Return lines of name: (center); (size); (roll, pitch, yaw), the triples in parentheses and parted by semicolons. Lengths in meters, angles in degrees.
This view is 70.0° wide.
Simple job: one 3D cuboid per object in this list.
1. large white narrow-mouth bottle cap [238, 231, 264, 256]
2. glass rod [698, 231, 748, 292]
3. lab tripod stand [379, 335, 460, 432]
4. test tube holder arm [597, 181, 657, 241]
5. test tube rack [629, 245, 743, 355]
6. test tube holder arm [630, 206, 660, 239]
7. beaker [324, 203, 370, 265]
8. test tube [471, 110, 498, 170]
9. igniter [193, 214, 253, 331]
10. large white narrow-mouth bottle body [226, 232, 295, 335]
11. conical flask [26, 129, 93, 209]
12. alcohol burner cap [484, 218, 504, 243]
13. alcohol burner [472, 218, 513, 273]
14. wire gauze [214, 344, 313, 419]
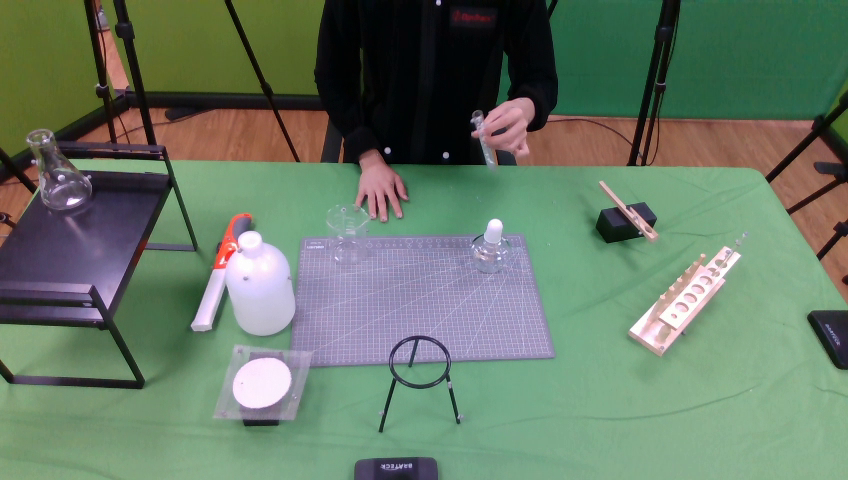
large white narrow-mouth bottle cap: (-0.266, 0.006, 0.932); (0.038, 0.024, 0.037); (2, 46, -2)
glass rod: (0.514, 0.044, 1.051); (0.008, 0.200, 0.008); (1, 55, -1)
lab tripod stand: (-0.010, 0.214, 0.912); (0.148, 0.132, 0.147); (1, 45, 0)
test tube holder arm: (0.406, -0.061, 1.219); (0.013, 0.015, 0.177); (-23, 50, -16)
test tube rack: (0.474, 0.095, 1.091); (0.242, 0.085, 0.066); (-34, 56, -31)
test tube holder arm: (0.431, -0.034, 1.192); (0.010, 0.015, 0.087); (-22, 50, -15)
beaker: (-0.142, -0.009, 1.137); (0.084, 0.101, 0.073); (-3, 47, -7)
test tube: (0.104, -0.166, 1.022); (0.017, 0.151, 0.017); (-9, 58, 15)
igniter: (-0.368, 0.050, 1.119); (0.057, 0.025, 0.275); (-3, 46, 8)
large white narrow-mouth bottle body: (-0.270, 0.065, 0.995); (0.102, 0.195, 0.101); (2, 46, -2)
conical flask: (-0.575, -0.113, 0.946); (0.075, 0.122, 0.075); (2, 46, -2)
alcohol burner cap: (0.130, -0.021, 1.106); (0.034, 0.048, 0.033); (3, 51, -4)
alcohol burner: (0.128, 0.005, 1.132); (0.078, 0.120, 0.077); (0, 47, 0)
wire gauze: (-0.241, 0.213, 0.915); (0.121, 0.011, 0.124); (5, 46, 1)
